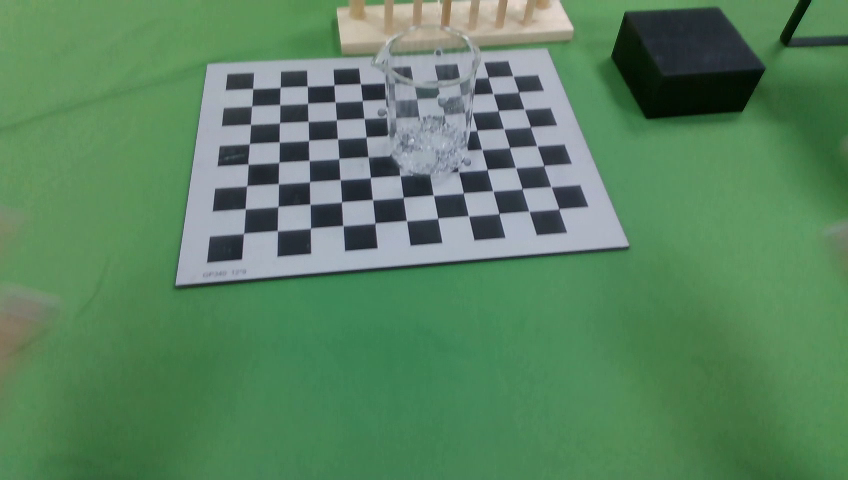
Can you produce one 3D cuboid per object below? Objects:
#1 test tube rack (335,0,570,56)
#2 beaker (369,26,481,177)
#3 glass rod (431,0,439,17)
[{"bbox_3d":[0.031,-0.250,0.616,0.243,0.086,0.066,-6,52,-8],"label":"test tube rack"},{"bbox_3d":[0.000,-0.107,0.489,0.084,0.101,0.073,-4,52,-5],"label":"beaker"},{"bbox_3d":[0.024,-0.299,0.569,0.008,0.201,0.008,5,54,-7],"label":"glass rod"}]
